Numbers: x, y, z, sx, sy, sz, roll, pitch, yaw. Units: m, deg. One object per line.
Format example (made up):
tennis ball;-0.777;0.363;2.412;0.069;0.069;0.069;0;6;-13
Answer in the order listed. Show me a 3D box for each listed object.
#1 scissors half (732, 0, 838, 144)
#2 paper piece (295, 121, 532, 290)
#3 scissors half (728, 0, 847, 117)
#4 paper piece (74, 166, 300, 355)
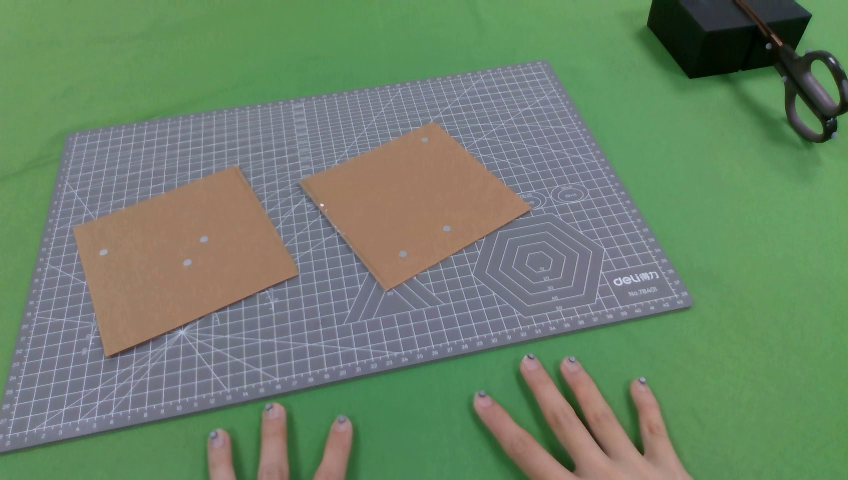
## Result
scissors half;0.309;-0.154;0.534;0.013;0.040;0.173;-15;64;0
paper piece;-0.010;-0.036;0.480;0.138;0.009;0.134;-27;58;-21
scissors half;0.305;-0.165;0.517;0.013;0.040;0.173;-18;46;4
paper piece;-0.179;0.006;0.449;0.136;0.004;0.134;-24;53;-18
